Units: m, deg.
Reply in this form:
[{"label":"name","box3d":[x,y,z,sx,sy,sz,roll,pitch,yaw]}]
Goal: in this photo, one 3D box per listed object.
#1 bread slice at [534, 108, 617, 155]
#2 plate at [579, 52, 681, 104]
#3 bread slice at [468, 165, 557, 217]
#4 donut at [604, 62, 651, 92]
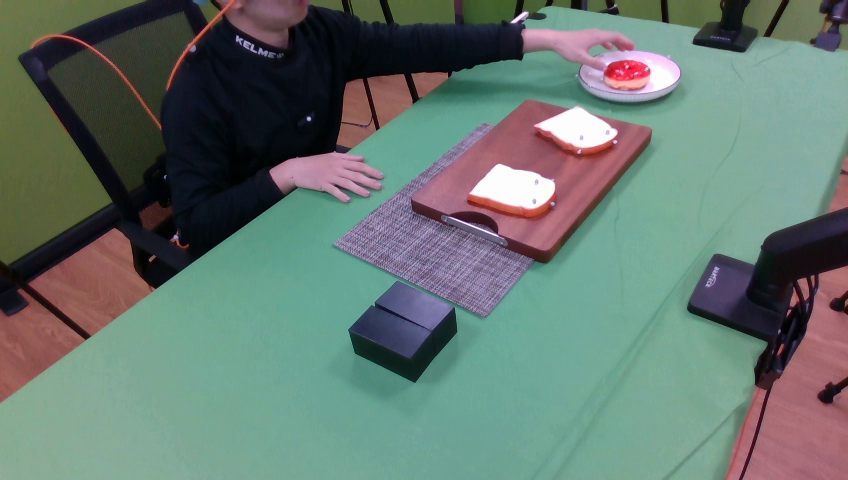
[{"label":"bread slice","box3d":[0.289,-0.201,1.120,0.107,0.018,0.133,-27,43,-21]},{"label":"plate","box3d":[0.437,-0.343,1.294,0.209,0.038,0.208,-4,40,4]},{"label":"bread slice","box3d":[0.154,-0.083,1.004,0.130,0.019,0.105,18,48,29]},{"label":"donut","box3d":[0.432,-0.347,1.285,0.099,0.048,0.098,-4,35,3]}]
